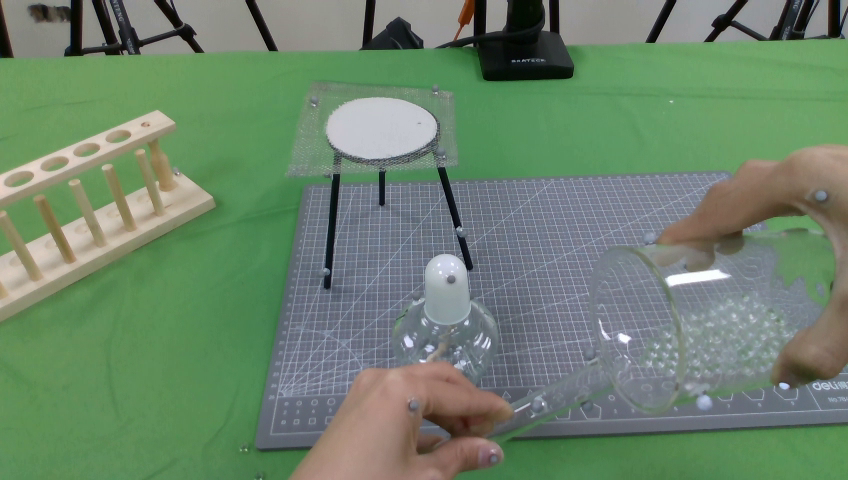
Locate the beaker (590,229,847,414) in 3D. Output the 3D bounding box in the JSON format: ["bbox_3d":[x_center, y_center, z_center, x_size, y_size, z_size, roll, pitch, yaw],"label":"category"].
[{"bbox_3d":[0.138,0.036,0.279,0.100,0.084,0.073,-7,54,-11],"label":"beaker"}]

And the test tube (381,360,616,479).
[{"bbox_3d":[0.034,0.104,0.326,0.150,0.017,0.017,-34,37,22],"label":"test tube"}]

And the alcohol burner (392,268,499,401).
[{"bbox_3d":[0.015,0.058,0.421,0.078,0.120,0.077,0,44,0],"label":"alcohol burner"}]

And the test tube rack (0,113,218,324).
[{"bbox_3d":[-0.314,-0.019,0.533,0.066,0.086,0.242,33,52,31],"label":"test tube rack"}]

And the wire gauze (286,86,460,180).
[{"bbox_3d":[-0.035,-0.086,0.465,0.121,0.011,0.124,1,43,0],"label":"wire gauze"}]

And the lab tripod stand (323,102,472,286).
[{"bbox_3d":[-0.026,-0.038,0.512,0.148,0.132,0.147,1,41,0],"label":"lab tripod stand"}]

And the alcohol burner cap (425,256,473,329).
[{"bbox_3d":[0.016,0.032,0.397,0.034,0.048,0.033,-3,42,3],"label":"alcohol burner cap"}]
